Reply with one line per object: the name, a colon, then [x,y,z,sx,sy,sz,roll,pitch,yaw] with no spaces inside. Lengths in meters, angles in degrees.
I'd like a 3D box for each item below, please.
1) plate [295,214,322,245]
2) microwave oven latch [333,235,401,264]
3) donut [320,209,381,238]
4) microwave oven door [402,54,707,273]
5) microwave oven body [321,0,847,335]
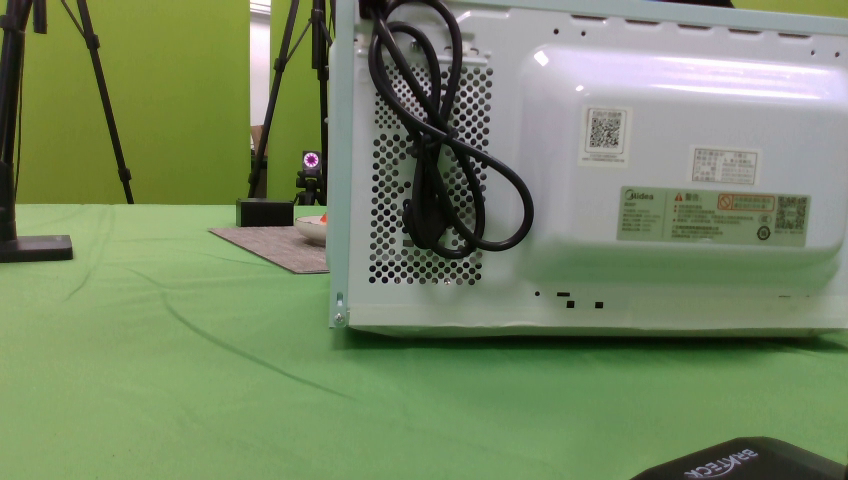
plate: [-0.107,-0.016,0.997,0.209,0.038,0.209,2,7,0]
microwave oven latch: [-0.065,0.010,0.701,0.079,0.029,0.030,2,7,-8]
donut: [-0.121,-0.027,0.996,0.099,0.048,0.099,2,4,0]
microwave oven door: [0.156,-0.085,0.717,0.357,0.243,0.039,1,8,-8]
microwave oven body: [0.133,-0.062,0.568,0.443,0.260,0.325,2,6,-8]
